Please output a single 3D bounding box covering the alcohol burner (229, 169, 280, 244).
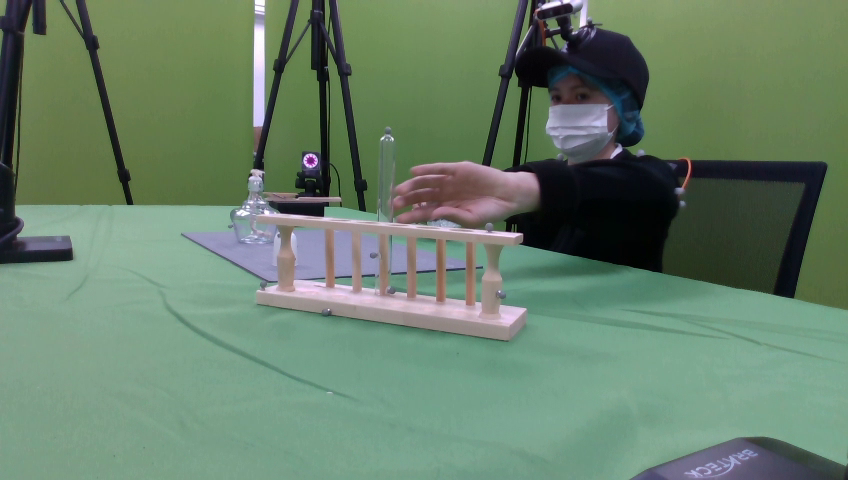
[{"bbox_3d":[-0.268,-0.053,0.958,0.078,0.119,0.078,2,6,0],"label":"alcohol burner"}]

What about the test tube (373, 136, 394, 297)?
[{"bbox_3d":[-0.038,-0.021,0.564,0.017,0.150,0.017,2,6,0],"label":"test tube"}]

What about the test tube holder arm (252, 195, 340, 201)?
[{"bbox_3d":[-0.260,-0.087,1.242,0.179,0.013,0.015,-1,7,-25],"label":"test tube holder arm"}]

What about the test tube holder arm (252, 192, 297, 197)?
[{"bbox_3d":[-0.301,-0.092,1.223,0.088,0.010,0.015,0,7,-25],"label":"test tube holder arm"}]

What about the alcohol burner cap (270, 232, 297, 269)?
[{"bbox_3d":[-0.175,0.012,0.760,0.034,0.048,0.034,2,7,0],"label":"alcohol burner cap"}]

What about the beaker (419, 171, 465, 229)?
[{"bbox_3d":[0.034,-0.070,1.086,0.074,0.100,0.084,-7,11,-1],"label":"beaker"}]

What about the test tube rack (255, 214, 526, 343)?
[{"bbox_3d":[-0.032,0.027,0.546,0.241,0.085,0.067,5,7,21],"label":"test tube rack"}]
